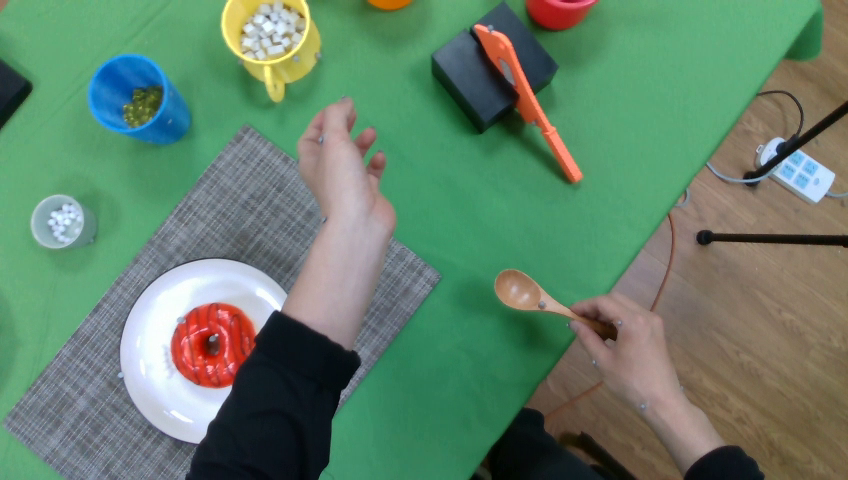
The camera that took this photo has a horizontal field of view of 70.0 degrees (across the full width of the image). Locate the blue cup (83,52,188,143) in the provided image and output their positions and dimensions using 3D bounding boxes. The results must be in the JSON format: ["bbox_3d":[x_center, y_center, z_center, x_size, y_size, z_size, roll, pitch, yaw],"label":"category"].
[{"bbox_3d":[-0.315,-0.152,0.685,0.093,0.100,0.092,0,85,-1],"label":"blue cup"}]

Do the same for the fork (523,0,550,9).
[{"bbox_3d":[0.195,-0.324,0.671,0.207,0.019,0.028,-27,82,40],"label":"fork"}]

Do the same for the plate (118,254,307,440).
[{"bbox_3d":[-0.236,0.120,0.691,0.209,0.038,0.208,0,86,1],"label":"plate"}]

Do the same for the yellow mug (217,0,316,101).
[{"bbox_3d":[-0.181,-0.228,0.707,0.100,0.064,0.130,-4,86,0],"label":"yellow mug"}]

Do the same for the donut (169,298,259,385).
[{"bbox_3d":[-0.235,0.114,0.680,0.099,0.048,0.099,0,88,1],"label":"donut"}]

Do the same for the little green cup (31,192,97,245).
[{"bbox_3d":[-0.418,-0.022,0.708,0.061,0.039,0.061,0,85,1],"label":"little green cup"}]

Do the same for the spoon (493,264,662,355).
[{"bbox_3d":[0.163,0.078,0.644,0.193,0.022,0.041,25,75,7],"label":"spoon"}]

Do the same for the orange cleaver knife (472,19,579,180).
[{"bbox_3d":[0.116,-0.157,0.691,0.012,0.076,0.213,-37,115,0],"label":"orange cleaver knife"}]
